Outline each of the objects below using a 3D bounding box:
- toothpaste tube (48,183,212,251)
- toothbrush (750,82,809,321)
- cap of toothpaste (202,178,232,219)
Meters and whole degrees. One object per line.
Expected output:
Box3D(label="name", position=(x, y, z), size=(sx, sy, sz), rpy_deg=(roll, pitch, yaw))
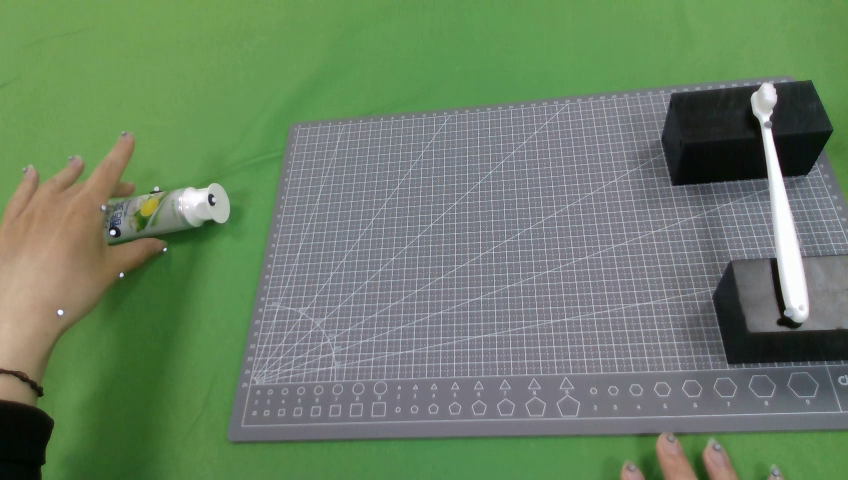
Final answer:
Box3D(label="toothpaste tube", position=(-0.256, -0.026, 0.537), size=(0.165, 0.035, 0.054), rpy_deg=(-9, 54, 10))
Box3D(label="toothbrush", position=(0.230, -0.033, 0.392), size=(0.014, 0.017, 0.180), rpy_deg=(10, 61, -1))
Box3D(label="cap of toothpaste", position=(-0.179, -0.036, 0.521), size=(0.011, 0.038, 0.037), rpy_deg=(-9, 57, 10))
